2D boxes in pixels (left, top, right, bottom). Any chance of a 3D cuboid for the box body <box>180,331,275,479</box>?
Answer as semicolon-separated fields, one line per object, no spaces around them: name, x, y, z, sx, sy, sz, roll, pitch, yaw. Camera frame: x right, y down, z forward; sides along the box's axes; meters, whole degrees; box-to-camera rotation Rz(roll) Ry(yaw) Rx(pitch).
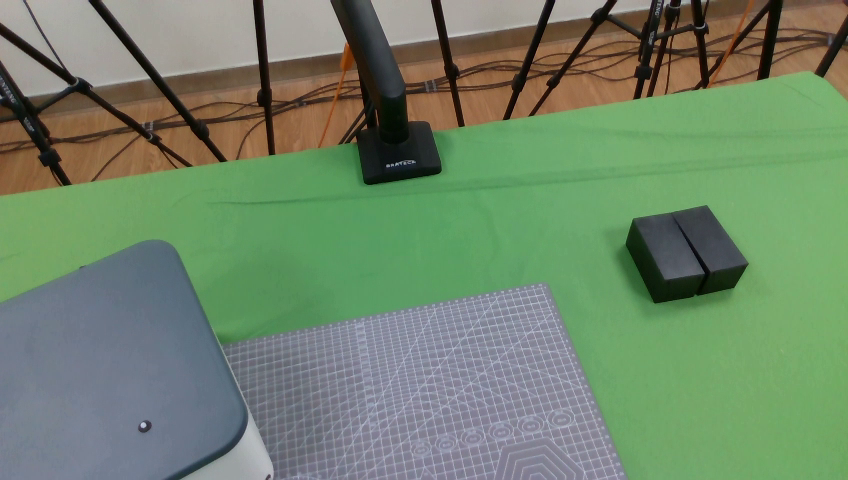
box body;-0.356;0.201;0.578;0.364;0.162;0.251;-27;54;-17

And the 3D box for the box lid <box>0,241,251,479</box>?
box lid;-0.358;0.153;0.521;0.372;0.015;0.260;-26;54;-18
